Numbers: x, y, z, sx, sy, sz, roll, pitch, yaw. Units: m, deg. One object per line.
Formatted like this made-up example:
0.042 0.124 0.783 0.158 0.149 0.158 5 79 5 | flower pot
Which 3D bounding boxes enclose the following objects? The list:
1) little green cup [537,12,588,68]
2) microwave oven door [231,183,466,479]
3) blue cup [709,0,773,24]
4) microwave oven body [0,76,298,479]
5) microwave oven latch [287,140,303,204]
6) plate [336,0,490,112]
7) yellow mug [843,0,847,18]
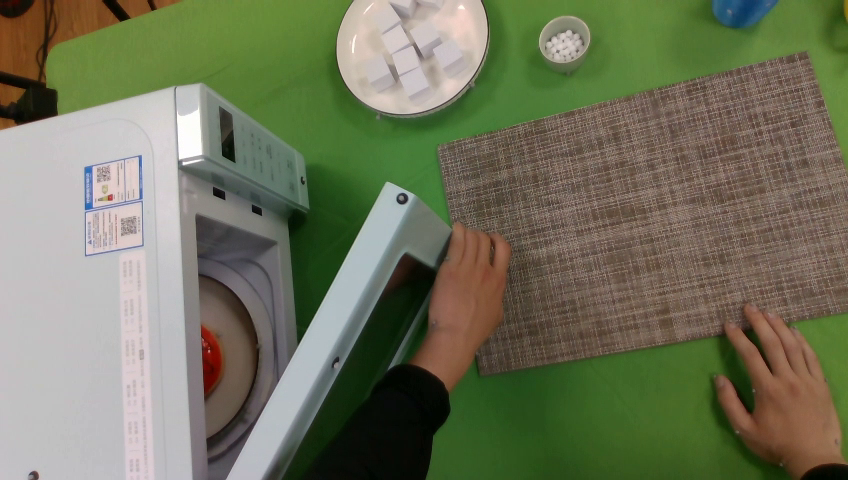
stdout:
0.173 -0.246 0.756 0.061 0.039 0.061 -2 81 14 | little green cup
-0.074 0.126 0.634 0.039 0.245 0.355 28 88 17 | microwave oven door
0.366 -0.296 0.684 0.092 0.101 0.092 -2 82 12 | blue cup
-0.319 0.093 0.703 0.325 0.261 0.440 -9 80 12 | microwave oven body
-0.176 -0.089 0.796 0.030 0.029 0.079 -5 81 12 | microwave oven latch
-0.014 -0.265 0.804 0.207 0.039 0.207 -2 81 13 | plate
0.517 -0.269 0.661 0.099 0.064 0.131 37 92 16 | yellow mug
